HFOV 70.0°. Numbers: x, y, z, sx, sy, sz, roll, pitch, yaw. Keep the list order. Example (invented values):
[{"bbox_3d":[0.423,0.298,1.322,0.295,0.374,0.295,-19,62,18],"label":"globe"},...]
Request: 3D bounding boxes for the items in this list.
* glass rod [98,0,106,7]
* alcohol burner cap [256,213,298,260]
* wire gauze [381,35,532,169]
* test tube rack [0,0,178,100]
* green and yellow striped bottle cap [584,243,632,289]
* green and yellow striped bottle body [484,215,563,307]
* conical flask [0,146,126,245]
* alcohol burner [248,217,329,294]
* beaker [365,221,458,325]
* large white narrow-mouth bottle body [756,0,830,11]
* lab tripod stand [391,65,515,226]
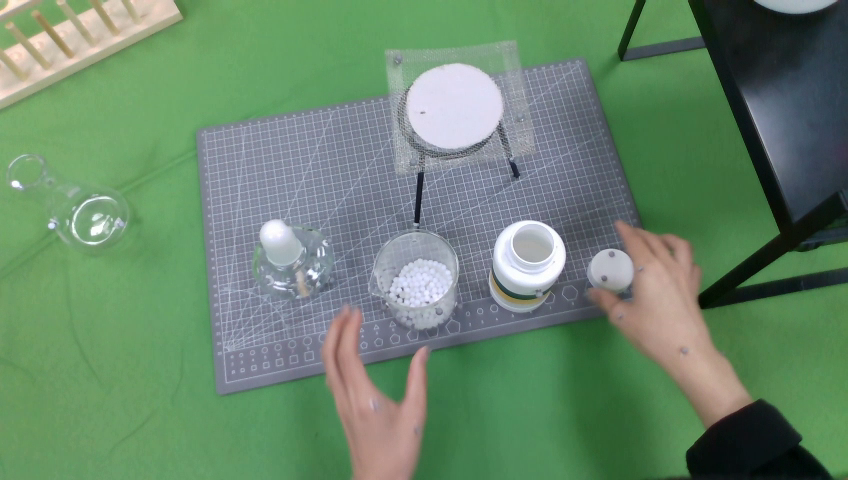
[{"bbox_3d":[-0.382,-0.321,0.641,0.008,0.201,0.008,1,68,-2],"label":"glass rod"},{"bbox_3d":[-0.133,-0.005,0.537,0.034,0.048,0.033,0,63,0],"label":"alcohol burner cap"},{"bbox_3d":[0.027,-0.125,0.531,0.121,0.011,0.124,-6,71,-2],"label":"wire gauze"},{"bbox_3d":[-0.420,-0.256,0.690,0.242,0.086,0.066,-30,73,-9],"label":"test tube rack"},{"bbox_3d":[0.185,0.025,0.607,0.045,0.020,0.045,-1,71,4],"label":"green and yellow striped bottle cap"},{"bbox_3d":[0.090,0.018,0.557,0.063,0.120,0.063,-1,70,2],"label":"green and yellow striped bottle body"},{"bbox_3d":[-0.358,-0.048,0.596,0.075,0.122,0.075,-1,70,2],"label":"conical flask"},{"bbox_3d":[-0.131,0.009,0.571,0.078,0.120,0.077,0,69,0],"label":"alcohol burner"},{"bbox_3d":[-0.010,0.038,0.565,0.084,0.101,0.073,-23,70,-5],"label":"beaker"},{"bbox_3d":[0.301,-0.264,0.423,0.102,0.196,0.101,0,68,2],"label":"large white narrow-mouth bottle body"},{"bbox_3d":[0.023,-0.097,0.592,0.148,0.132,0.147,0,69,1],"label":"lab tripod stand"}]
